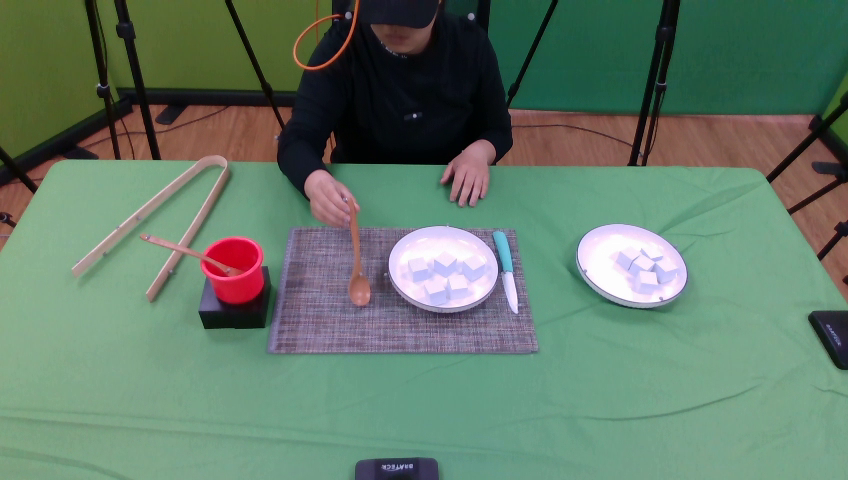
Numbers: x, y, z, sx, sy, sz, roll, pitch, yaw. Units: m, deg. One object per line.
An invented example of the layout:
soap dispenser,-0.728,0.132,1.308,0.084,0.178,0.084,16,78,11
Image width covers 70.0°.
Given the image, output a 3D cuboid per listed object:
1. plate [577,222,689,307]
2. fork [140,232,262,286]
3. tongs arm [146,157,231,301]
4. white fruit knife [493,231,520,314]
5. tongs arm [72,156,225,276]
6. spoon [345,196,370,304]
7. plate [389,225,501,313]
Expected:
plate,0.396,0.050,1.165,0.209,0.038,0.208,2,47,-2
fork,-0.357,0.032,0.985,0.208,0.018,0.028,30,42,-35
tongs arm,-0.454,-0.035,1.193,0.028,0.028,0.385,6,46,6
white fruit knife,0.160,0.057,1.154,0.027,0.016,0.206,-21,46,16
tongs arm,-0.531,-0.058,1.205,0.050,0.026,0.383,19,47,13
spoon,-0.119,0.018,1.055,0.042,0.194,0.021,-10,18,-23
plate,0.038,0.057,1.129,0.208,0.039,0.206,2,46,-2
